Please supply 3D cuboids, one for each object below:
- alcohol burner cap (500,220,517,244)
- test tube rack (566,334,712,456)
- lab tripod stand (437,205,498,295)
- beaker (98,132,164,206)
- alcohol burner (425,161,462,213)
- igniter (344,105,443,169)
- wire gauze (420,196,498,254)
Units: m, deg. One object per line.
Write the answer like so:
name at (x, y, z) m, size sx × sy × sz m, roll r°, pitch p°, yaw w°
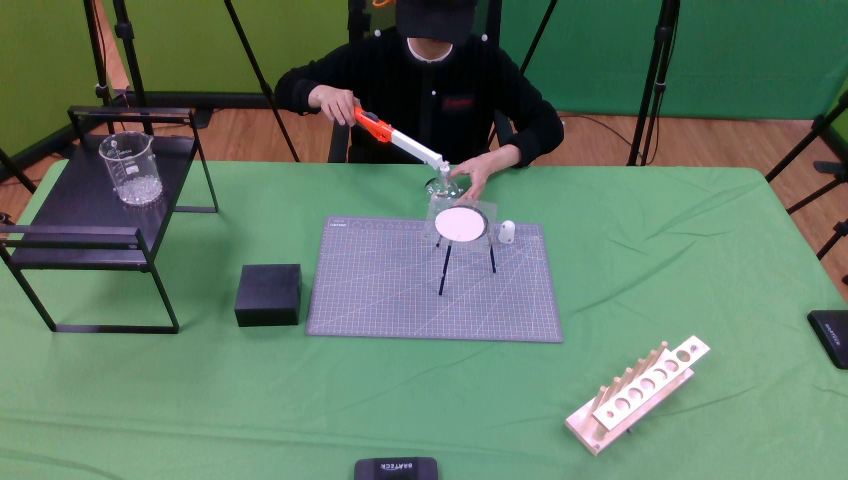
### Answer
alcohol burner cap at (0.170, -0.018, 1.205) m, size 0.034 × 0.048 × 0.033 m, roll 1°, pitch 46°, yaw 0°
test tube rack at (0.339, 0.228, 0.951) m, size 0.242 × 0.085 × 0.066 m, roll -26°, pitch 52°, yaw -26°
lab tripod stand at (0.066, 0.010, 1.107) m, size 0.148 × 0.132 × 0.147 m, roll 0°, pitch 46°, yaw 0°
beaker at (-0.460, -0.112, 0.968) m, size 0.073 × 0.101 × 0.084 m, roll 37°, pitch 54°, yaw 28°
alcohol burner at (0.042, -0.114, 1.245) m, size 0.078 × 0.119 × 0.077 m, roll 3°, pitch 45°, yaw -3°
igniter at (-0.070, -0.222, 1.276) m, size 0.275 × 0.057 × 0.025 m, roll 32°, pitch 56°, yaw 27°
wire gauze at (0.062, -0.032, 1.054) m, size 0.125 × 0.011 × 0.121 m, roll 9°, pitch 46°, yaw 8°
